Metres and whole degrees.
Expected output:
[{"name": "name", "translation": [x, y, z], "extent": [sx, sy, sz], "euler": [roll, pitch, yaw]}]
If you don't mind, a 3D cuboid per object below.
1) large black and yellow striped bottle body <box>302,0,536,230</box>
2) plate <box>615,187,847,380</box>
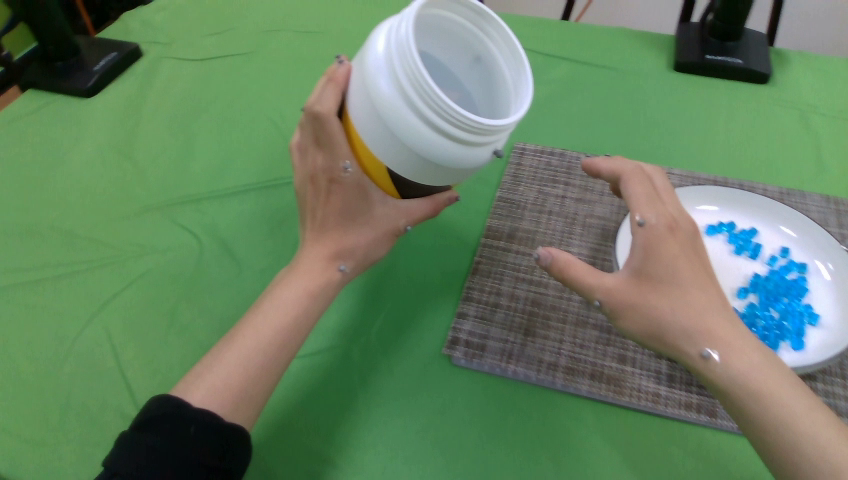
[{"name": "large black and yellow striped bottle body", "translation": [-0.008, -0.097, 0.497], "extent": [0.132, 0.184, 0.130], "euler": [13, 63, -28]}, {"name": "plate", "translation": [0.273, 0.036, 0.534], "extent": [0.208, 0.039, 0.205], "euler": [-1, 47, 1]}]
